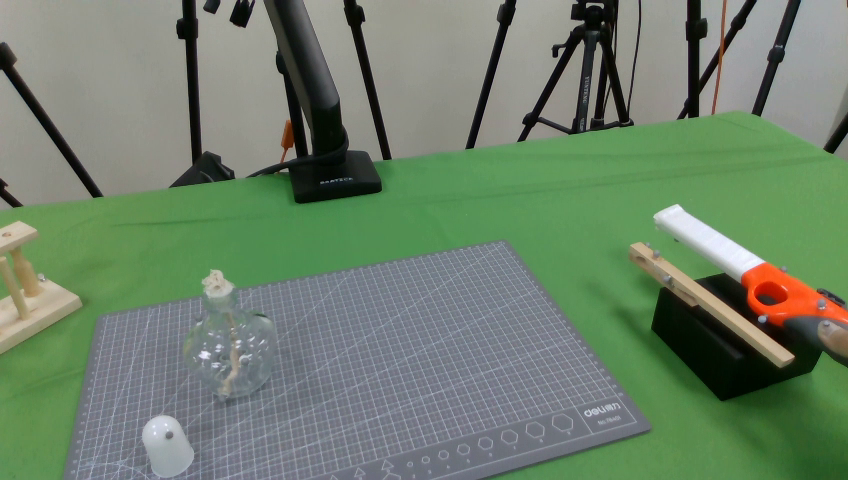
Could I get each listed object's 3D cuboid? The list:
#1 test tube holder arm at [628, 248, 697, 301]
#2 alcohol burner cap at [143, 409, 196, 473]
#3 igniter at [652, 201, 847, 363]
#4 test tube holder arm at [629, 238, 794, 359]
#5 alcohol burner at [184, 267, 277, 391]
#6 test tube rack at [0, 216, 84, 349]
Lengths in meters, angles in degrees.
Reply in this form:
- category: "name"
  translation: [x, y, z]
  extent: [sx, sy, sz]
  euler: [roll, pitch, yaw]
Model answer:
- category: "test tube holder arm"
  translation: [0.228, 0.029, 0.576]
  extent: [0.015, 0.010, 0.087]
  euler: [-20, 35, -15]
- category: "alcohol burner cap"
  translation: [-0.195, 0.149, 0.461]
  extent: [0.034, 0.048, 0.033]
  euler: [1, 34, 0]
- category: "igniter"
  translation: [0.299, 0.033, 0.539]
  extent: [0.057, 0.025, 0.273]
  euler: [-25, 33, -6]
- category: "test tube holder arm"
  translation: [0.245, 0.046, 0.537]
  extent: [0.015, 0.013, 0.176]
  euler: [-20, 35, -15]
- category: "alcohol burner"
  translation: [-0.166, 0.071, 0.513]
  extent: [0.078, 0.120, 0.077]
  euler: [1, 35, 0]
- category: "test tube rack"
  translation: [-0.449, 0.076, 0.541]
  extent: [0.066, 0.086, 0.242]
  euler: [19, 39, 27]
